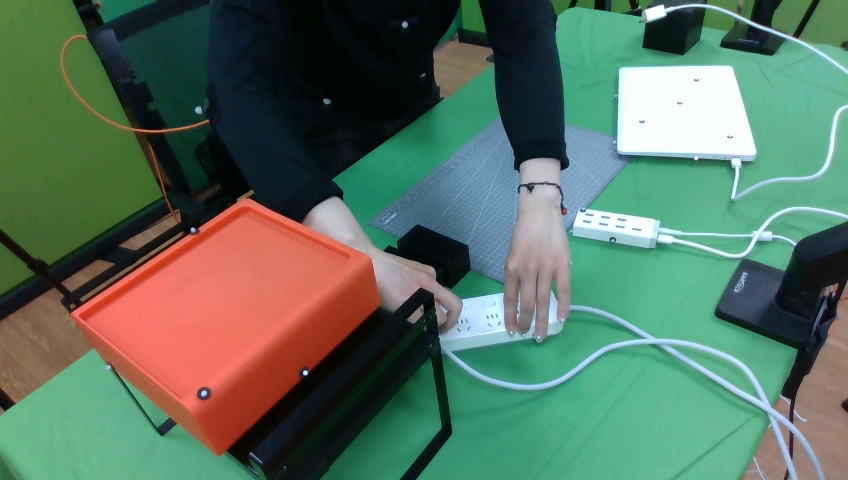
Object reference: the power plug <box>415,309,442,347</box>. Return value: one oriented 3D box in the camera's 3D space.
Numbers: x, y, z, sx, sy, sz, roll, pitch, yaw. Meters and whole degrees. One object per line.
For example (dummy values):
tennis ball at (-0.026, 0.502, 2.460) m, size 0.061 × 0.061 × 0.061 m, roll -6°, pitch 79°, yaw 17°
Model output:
power plug at (0.005, 0.120, 0.776) m, size 0.035 × 0.053 × 0.072 m, roll -10°, pitch 45°, yaw 12°

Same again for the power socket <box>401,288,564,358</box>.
power socket at (0.080, 0.112, 0.822) m, size 0.227 × 0.033 × 0.072 m, roll -8°, pitch 41°, yaw -3°

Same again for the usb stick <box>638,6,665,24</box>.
usb stick at (0.503, -0.499, 1.347) m, size 0.059 × 0.027 × 0.021 m, roll -21°, pitch 5°, yaw -2°

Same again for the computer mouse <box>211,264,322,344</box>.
computer mouse at (-0.164, 0.062, 0.625) m, size 0.116 × 0.041 × 0.063 m, roll 22°, pitch 44°, yaw 27°

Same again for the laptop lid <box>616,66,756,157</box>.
laptop lid at (0.503, -0.265, 1.196) m, size 0.241 × 0.013 × 0.356 m, roll 5°, pitch 42°, yaw 16°

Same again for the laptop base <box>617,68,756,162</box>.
laptop base at (0.507, -0.256, 1.204) m, size 0.235 × 0.023 × 0.353 m, roll 3°, pitch 41°, yaw 15°

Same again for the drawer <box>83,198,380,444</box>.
drawer at (-0.185, 0.066, 0.601) m, size 0.193 × 0.073 × 0.212 m, roll 24°, pitch 50°, yaw 31°

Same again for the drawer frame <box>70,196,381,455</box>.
drawer frame at (-0.186, 0.068, 0.597) m, size 0.200 × 0.083 × 0.214 m, roll 23°, pitch 49°, yaw 30°

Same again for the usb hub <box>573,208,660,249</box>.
usb hub at (0.302, -0.019, 0.950) m, size 0.124 × 0.025 × 0.049 m, roll 11°, pitch 43°, yaw 20°
